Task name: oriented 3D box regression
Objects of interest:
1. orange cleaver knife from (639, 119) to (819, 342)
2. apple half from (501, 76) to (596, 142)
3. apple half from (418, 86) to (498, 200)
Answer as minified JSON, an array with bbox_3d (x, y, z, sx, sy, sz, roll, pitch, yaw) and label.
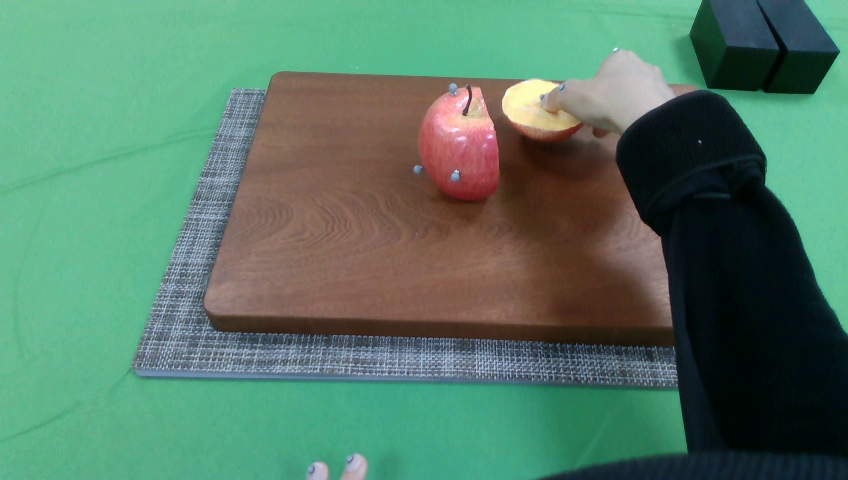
[{"bbox_3d":[0.220,-0.018,0.455,0.077,0.012,0.209,-2,54,-8],"label":"orange cleaver knife"},{"bbox_3d":[0.099,-0.101,0.501,0.081,0.033,0.080,-3,45,3],"label":"apple half"},{"bbox_3d":[0.022,-0.070,0.456,0.053,0.075,0.080,-10,56,-4],"label":"apple half"}]
